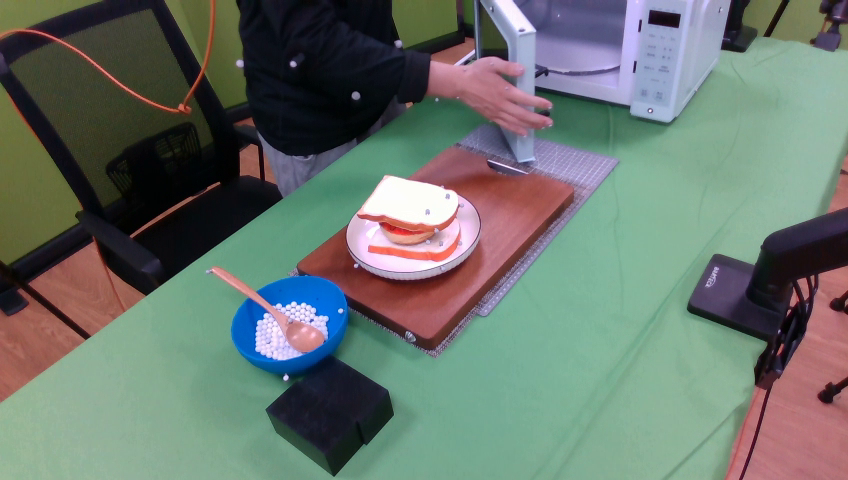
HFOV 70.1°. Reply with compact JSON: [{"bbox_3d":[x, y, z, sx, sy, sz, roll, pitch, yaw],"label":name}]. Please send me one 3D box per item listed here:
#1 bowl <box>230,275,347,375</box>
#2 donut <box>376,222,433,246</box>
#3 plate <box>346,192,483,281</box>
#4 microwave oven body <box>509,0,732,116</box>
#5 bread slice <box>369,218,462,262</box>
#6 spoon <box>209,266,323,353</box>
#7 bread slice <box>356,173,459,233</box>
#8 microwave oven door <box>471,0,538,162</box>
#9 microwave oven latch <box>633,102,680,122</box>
[{"bbox_3d":[-0.171,0.125,0.802,0.151,0.077,0.150,-4,40,4],"label":"bowl"},{"bbox_3d":[-0.023,-0.031,0.906,0.099,0.048,0.098,-9,42,9],"label":"donut"},{"bbox_3d":[-0.013,-0.008,0.922,0.207,0.039,0.206,-4,40,4],"label":"plate"},{"bbox_3d":[0.377,-0.463,1.267,0.438,0.261,0.327,21,49,30],"label":"microwave oven body"},{"bbox_3d":[-0.008,-0.009,0.929,0.131,0.019,0.105,7,44,20],"label":"bread slice"},{"bbox_3d":[-0.213,0.087,0.806,0.193,0.021,0.042,37,56,11],"label":"spoon"},{"bbox_3d":[-0.018,-0.053,0.886,0.134,0.018,0.107,12,43,12],"label":"bread slice"},{"bbox_3d":[0.148,-0.344,1.154,0.039,0.245,0.353,-11,41,-4],"label":"microwave oven door"},{"bbox_3d":[0.443,-0.249,1.158,0.078,0.029,0.030,21,49,30],"label":"microwave oven latch"}]
